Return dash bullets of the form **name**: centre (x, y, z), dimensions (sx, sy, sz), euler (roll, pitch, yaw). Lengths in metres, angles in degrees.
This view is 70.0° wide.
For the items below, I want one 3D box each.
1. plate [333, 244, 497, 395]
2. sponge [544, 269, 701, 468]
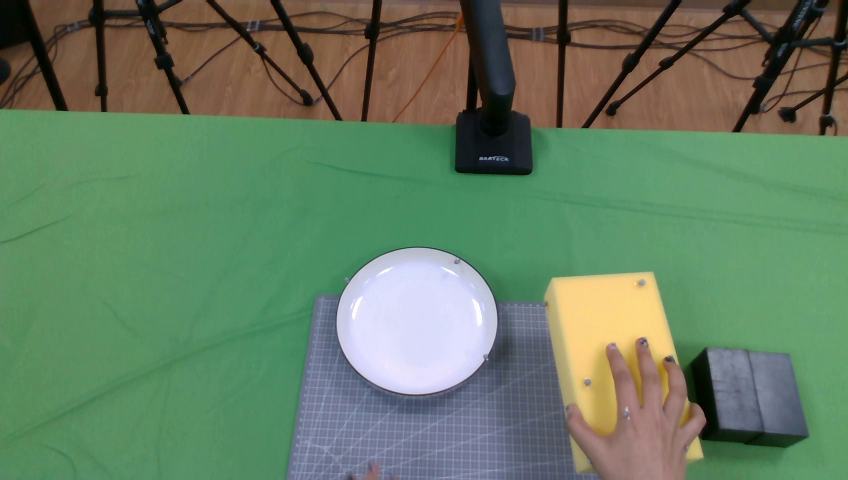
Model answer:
- **plate**: centre (-0.010, 0.102, 0.779), dimensions (0.209, 0.038, 0.207), euler (0, 59, 0)
- **sponge**: centre (0.212, 0.139, 0.674), dimensions (0.118, 0.061, 0.205), euler (-5, 63, -2)
